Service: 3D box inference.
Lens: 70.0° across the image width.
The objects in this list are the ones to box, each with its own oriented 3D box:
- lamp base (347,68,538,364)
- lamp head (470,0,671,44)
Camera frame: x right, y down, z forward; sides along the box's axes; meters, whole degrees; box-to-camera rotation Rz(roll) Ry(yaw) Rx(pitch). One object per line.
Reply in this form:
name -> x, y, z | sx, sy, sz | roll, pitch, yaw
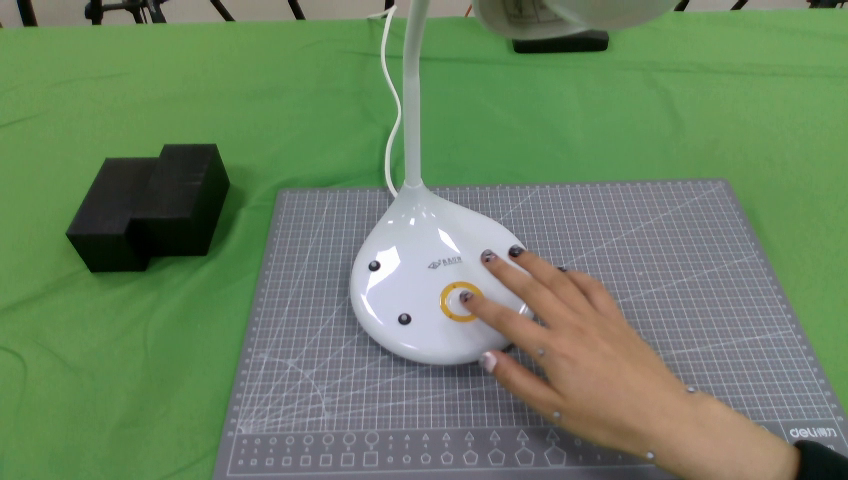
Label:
lamp base -> 0.008, -0.025, 0.462 | 0.161, 0.182, 0.177 | -23, 48, -18
lamp head -> 0.051, -0.142, 0.198 | 0.112, 0.112, 0.122 | -17, 79, -14
